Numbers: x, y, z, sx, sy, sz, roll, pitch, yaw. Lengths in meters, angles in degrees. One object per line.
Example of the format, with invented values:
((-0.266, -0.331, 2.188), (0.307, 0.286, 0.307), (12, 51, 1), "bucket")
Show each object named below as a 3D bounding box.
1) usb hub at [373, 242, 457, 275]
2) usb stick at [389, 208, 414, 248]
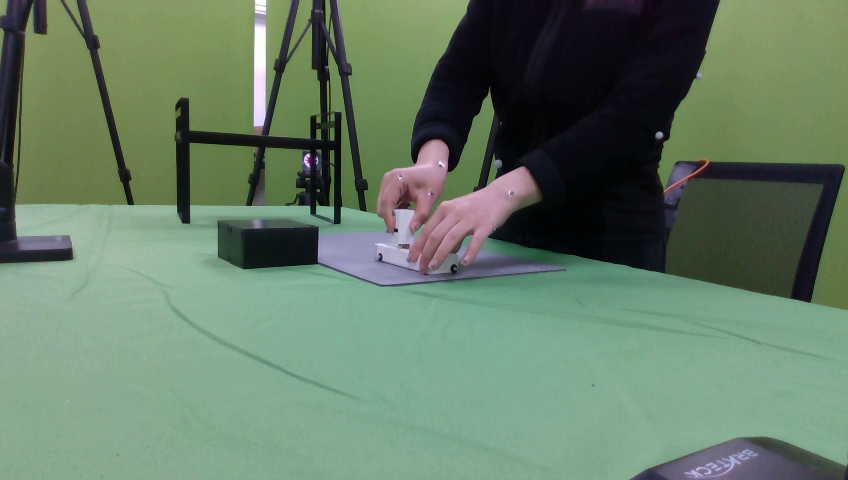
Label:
((-0.014, 0.022, 0.798), (0.050, 0.025, 0.124), (-5, 11, -37), "usb hub")
((-0.030, -0.011, 0.788), (0.027, 0.059, 0.021), (-6, 12, -41), "usb stick")
